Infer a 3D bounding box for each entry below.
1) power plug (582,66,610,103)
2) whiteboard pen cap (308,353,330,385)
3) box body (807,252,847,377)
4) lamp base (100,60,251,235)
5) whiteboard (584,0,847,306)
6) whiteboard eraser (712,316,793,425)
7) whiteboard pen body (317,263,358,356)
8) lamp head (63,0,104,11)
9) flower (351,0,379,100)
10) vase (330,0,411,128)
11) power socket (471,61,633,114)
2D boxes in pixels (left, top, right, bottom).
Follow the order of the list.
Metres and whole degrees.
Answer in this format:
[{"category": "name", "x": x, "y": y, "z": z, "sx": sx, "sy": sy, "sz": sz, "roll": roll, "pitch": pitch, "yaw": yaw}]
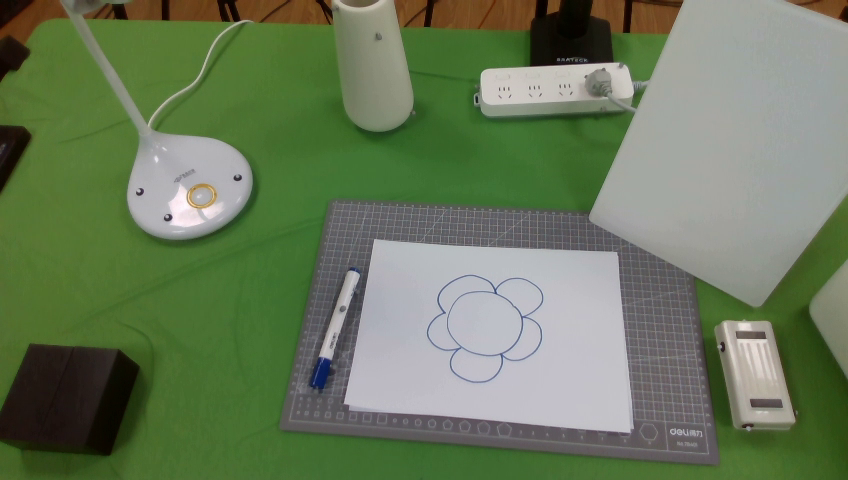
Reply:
[{"category": "power plug", "x": 0.231, "y": -0.203, "z": 0.818, "sx": 0.035, "sy": 0.053, "sz": 0.072, "roll": 8, "pitch": 66, "yaw": 7}, {"category": "whiteboard pen cap", "x": -0.114, "y": 0.141, "z": 0.660, "sx": 0.018, "sy": 0.018, "sz": 0.033, "roll": 10, "pitch": 62, "yaw": 9}, {"category": "box body", "x": 0.571, "y": 0.141, "z": 0.546, "sx": 0.254, "sy": 0.162, "sz": 0.360, "roll": -13, "pitch": 59, "yaw": -5}, {"category": "lamp base", "x": -0.322, "y": -0.121, "z": 0.735, "sx": 0.178, "sy": 0.182, "sz": 0.160, "roll": 33, "pitch": 65, "yaw": 24}, {"category": "whiteboard", "x": 0.351, "y": -0.119, "z": 0.666, "sx": 0.216, "sy": 0.308, "sz": 0.143, "roll": 32, "pitch": 45, "yaw": 20}, {"category": "whiteboard eraser", "x": 0.339, "y": 0.135, "z": 0.632, "sx": 0.055, "sy": 0.042, "sz": 0.111, "roll": 1, "pitch": 59, "yaw": 2}, {"category": "whiteboard pen body", "x": -0.101, "y": 0.090, "z": 0.687, "sx": 0.017, "sy": 0.017, "sz": 0.140, "roll": 11, "pitch": 62, "yaw": 10}, {"category": "lamp head", "x": -0.287, "y": -0.264, "z": 0.481, "sx": 0.123, "sy": 0.112, "sz": 0.112, "roll": 43, "pitch": 64, "yaw": -17}, {"category": "flower", "x": -0.056, "y": -0.272, "z": 0.707, "sx": 0.044, "sy": 0.363, "sz": 0.038, "roll": -35, "pitch": 80, "yaw": -26}, {"category": "vase", "x": -0.071, "y": -0.238, "z": 0.783, "sx": 0.098, "sy": 0.202, "sz": 0.097, "roll": -2, "pitch": 58, "yaw": 3}, {"category": "power socket", "x": 0.181, "y": -0.215, "z": 0.854, "sx": 0.227, "sy": 0.033, "sz": 0.071, "roll": -1, "pitch": 60, "yaw": 1}]
